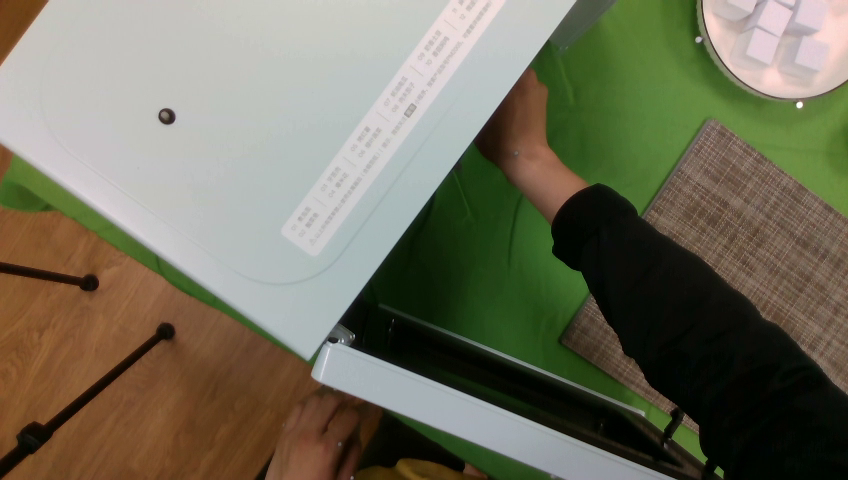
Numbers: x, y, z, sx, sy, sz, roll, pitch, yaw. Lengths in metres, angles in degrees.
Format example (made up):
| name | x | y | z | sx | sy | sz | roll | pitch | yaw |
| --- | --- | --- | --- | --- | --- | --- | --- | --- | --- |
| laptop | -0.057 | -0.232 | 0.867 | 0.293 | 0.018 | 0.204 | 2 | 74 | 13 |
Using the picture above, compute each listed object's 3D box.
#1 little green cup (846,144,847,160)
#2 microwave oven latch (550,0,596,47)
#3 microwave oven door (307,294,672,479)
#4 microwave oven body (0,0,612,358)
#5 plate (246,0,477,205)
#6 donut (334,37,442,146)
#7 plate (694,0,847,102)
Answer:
| name | x | y | z | sx | sy | sz | roll | pitch | yaw |
| --- | --- | --- | --- | --- | --- | --- | --- | --- | --- |
| little green cup | 0.510 | -0.101 | 0.678 | 0.061 | 0.038 | 0.061 | 0 | 92 | -4 |
| microwave oven latch | 0.154 | -0.240 | 0.623 | 0.030 | 0.029 | 0.079 | 41 | 90 | -6 |
| microwave oven door | 0.079 | 0.143 | 0.540 | 0.356 | 0.243 | 0.039 | 23 | 90 | -5 |
| microwave oven body | -0.064 | -0.181 | 0.514 | 0.327 | 0.259 | 0.441 | 37 | 91 | -6 |
| plate | -0.056 | -0.137 | 0.560 | 0.209 | 0.038 | 0.209 | 0 | 94 | -6 |
| donut | -0.032 | -0.135 | 0.555 | 0.099 | 0.048 | 0.099 | 0 | 96 | 3 |
| plate | 0.391 | -0.253 | 0.659 | 0.208 | 0.039 | 0.207 | 0 | 93 | -4 |
